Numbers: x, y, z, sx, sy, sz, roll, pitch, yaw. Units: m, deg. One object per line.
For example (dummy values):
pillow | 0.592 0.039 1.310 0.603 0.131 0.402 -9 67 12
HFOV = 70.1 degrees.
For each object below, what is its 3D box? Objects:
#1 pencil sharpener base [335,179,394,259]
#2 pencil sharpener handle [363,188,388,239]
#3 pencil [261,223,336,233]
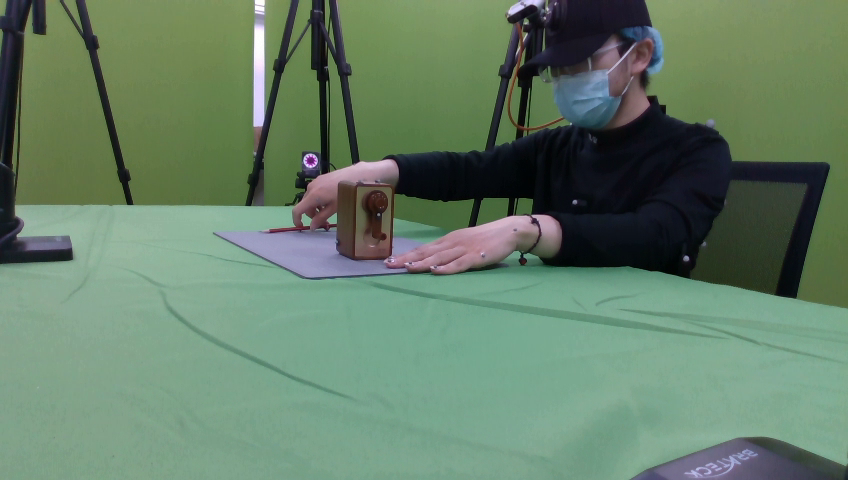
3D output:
pencil sharpener base | -0.084 -0.030 0.854 0.061 0.107 0.076 -1 9 -28
pencil sharpener handle | -0.060 -0.035 0.808 0.036 0.067 0.030 -2 9 -28
pencil | -0.212 -0.024 1.123 0.195 0.012 0.012 -8 12 -37
